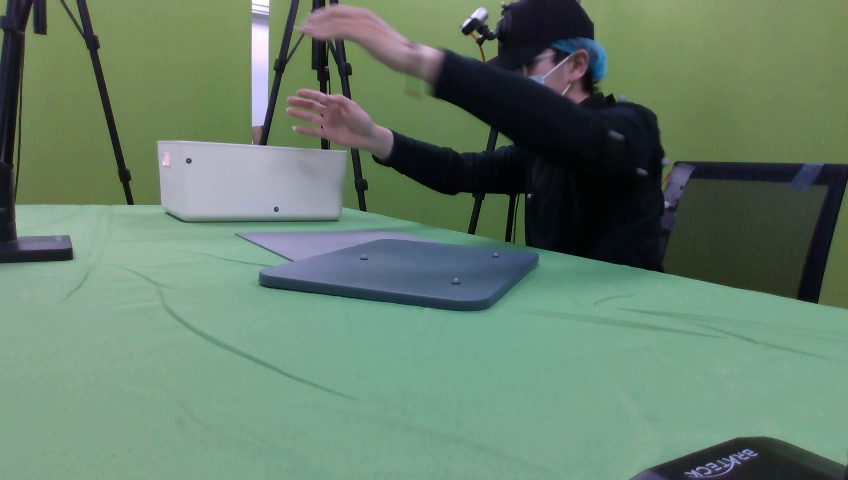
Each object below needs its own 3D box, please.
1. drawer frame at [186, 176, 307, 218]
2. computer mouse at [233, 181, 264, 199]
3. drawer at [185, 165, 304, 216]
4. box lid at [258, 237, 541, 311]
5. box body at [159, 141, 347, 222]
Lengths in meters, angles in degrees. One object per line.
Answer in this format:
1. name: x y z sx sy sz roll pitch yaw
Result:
1. drawer frame: -0.397 -0.099 1.347 0.203 0.082 0.212 -3 8 -37
2. computer mouse: -0.357 -0.103 1.270 0.062 0.041 0.117 1 0 19
3. drawer: -0.403 -0.108 1.354 0.195 0.073 0.211 -9 -3 -38
4. box lid: -0.004 0.033 0.773 0.262 0.015 0.372 5 8 19
5. box body: -0.384 -0.133 1.359 0.366 0.160 0.253 -2 9 -33
